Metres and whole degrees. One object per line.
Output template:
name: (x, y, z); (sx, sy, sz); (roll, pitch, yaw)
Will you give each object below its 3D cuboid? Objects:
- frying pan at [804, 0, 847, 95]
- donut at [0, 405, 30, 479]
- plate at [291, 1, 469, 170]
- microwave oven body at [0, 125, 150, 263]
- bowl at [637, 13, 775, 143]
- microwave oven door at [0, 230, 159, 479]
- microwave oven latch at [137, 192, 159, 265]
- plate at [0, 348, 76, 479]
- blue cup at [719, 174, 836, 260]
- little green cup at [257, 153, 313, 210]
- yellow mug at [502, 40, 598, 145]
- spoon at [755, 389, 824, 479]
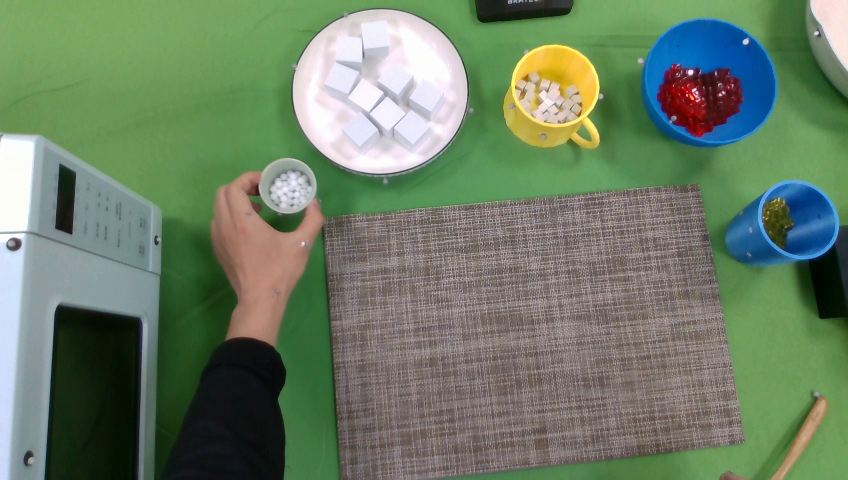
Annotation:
frying pan: (0.599, -0.175, 0.700); (0.307, 0.103, 0.484); (0, 72, 0)
donut: (-0.426, 0.202, 0.574); (0.099, 0.048, 0.098); (1, 82, -4)
plate: (-0.051, -0.180, 0.722); (0.208, 0.039, 0.207); (0, 80, -1)
microwave oven body: (-0.450, 0.150, 0.541); (0.326, 0.261, 0.440); (-2, 81, -2)
bowl: (0.315, -0.176, 0.709); (0.151, 0.077, 0.151); (0, 81, -1)
microwave oven door: (-0.302, 0.186, 0.533); (0.039, 0.244, 0.354); (-3, 80, -1)
microwave oven latch: (-0.310, -0.012, 0.669); (0.030, 0.029, 0.079); (-1, 81, -2)
plate: (-0.438, 0.206, 0.585); (0.209, 0.038, 0.208); (0, 82, -2)
blue cup: (0.380, -0.017, 0.671); (0.093, 0.100, 0.092); (0, 79, -2)
little green cup: (-0.151, -0.062, 0.670); (0.061, 0.038, 0.061); (0, 84, -4)
yellow mug: (0.155, -0.162, 0.709); (0.100, 0.064, 0.130); (-42, 84, -7)
spoon: (0.391, 0.244, 0.667); (0.041, 0.022, 0.193); (37, 81, 17)
